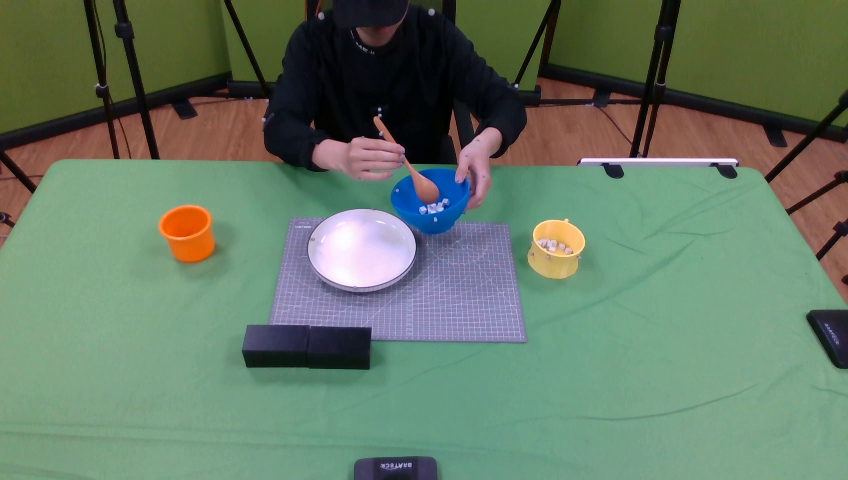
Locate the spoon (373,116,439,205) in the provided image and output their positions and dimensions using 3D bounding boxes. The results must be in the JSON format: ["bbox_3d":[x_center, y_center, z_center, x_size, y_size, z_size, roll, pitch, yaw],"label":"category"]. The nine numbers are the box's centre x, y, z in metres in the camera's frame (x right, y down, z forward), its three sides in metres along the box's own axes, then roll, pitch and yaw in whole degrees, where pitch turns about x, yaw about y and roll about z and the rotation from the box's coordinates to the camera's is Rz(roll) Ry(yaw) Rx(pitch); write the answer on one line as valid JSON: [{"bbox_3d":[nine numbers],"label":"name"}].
[{"bbox_3d":[-0.036,-0.143,1.098,0.041,0.194,0.021,-36,16,4],"label":"spoon"}]

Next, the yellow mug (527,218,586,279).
[{"bbox_3d":[0.261,0.006,1.181,0.100,0.064,0.130,18,47,14],"label":"yellow mug"}]

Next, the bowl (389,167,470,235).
[{"bbox_3d":[0.015,-0.063,1.140,0.151,0.077,0.150,-7,39,6],"label":"bowl"}]

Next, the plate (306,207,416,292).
[{"bbox_3d":[-0.119,0.021,1.153,0.209,0.038,0.208,2,46,-2],"label":"plate"}]
